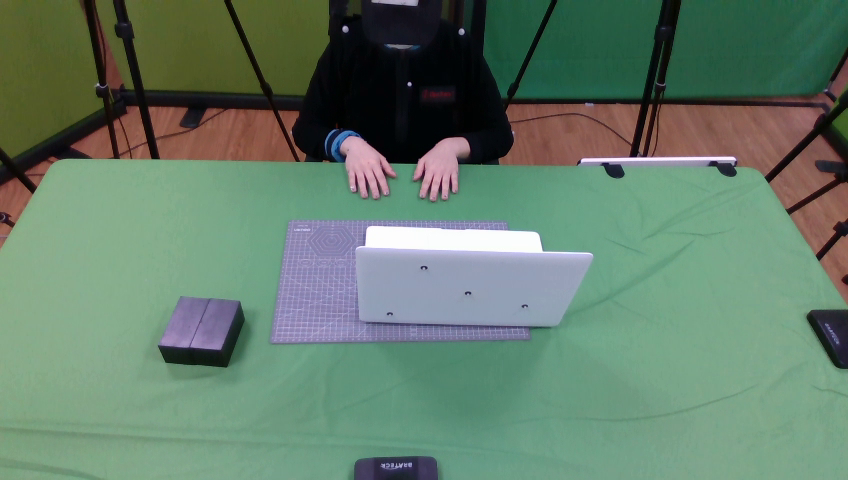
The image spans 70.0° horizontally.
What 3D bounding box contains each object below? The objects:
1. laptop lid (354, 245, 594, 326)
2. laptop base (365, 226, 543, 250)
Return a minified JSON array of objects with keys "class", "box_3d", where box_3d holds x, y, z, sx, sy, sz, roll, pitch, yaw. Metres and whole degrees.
[{"class":"laptop lid","box_3d":[0.069,0.080,0.964,0.357,0.243,0.013,2,55,-4]},{"class":"laptop base","box_3d":[0.061,0.063,1.144,0.354,0.023,0.234,2,43,-3]}]
